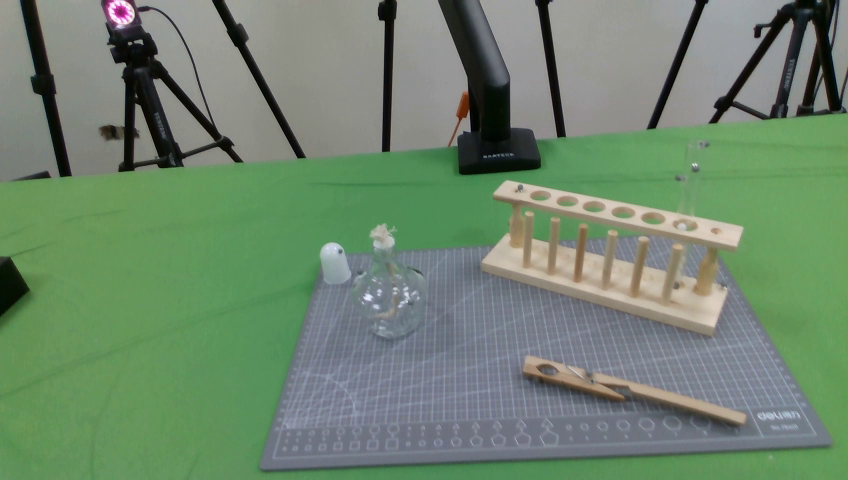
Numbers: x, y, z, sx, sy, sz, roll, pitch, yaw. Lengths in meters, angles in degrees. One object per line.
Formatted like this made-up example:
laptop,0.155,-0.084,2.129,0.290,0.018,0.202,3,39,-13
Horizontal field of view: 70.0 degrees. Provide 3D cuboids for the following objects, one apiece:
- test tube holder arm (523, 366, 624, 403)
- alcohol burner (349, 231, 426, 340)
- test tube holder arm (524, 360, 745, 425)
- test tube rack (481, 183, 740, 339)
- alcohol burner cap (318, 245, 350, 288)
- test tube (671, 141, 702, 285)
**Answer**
test tube holder arm,0.129,0.125,0.525,0.087,0.015,0.010,10,71,21
alcohol burner,-0.037,0.040,0.594,0.078,0.120,0.077,-3,36,3
test tube holder arm,0.172,0.127,0.511,0.177,0.015,0.013,9,70,21
test tube rack,0.178,0.014,0.620,0.240,0.086,0.066,15,40,29
alcohol burner cap,-0.104,0.027,0.687,0.034,0.048,0.033,-4,35,3
test tube,0.244,-0.021,0.571,0.017,0.151,0.017,-5,31,3
